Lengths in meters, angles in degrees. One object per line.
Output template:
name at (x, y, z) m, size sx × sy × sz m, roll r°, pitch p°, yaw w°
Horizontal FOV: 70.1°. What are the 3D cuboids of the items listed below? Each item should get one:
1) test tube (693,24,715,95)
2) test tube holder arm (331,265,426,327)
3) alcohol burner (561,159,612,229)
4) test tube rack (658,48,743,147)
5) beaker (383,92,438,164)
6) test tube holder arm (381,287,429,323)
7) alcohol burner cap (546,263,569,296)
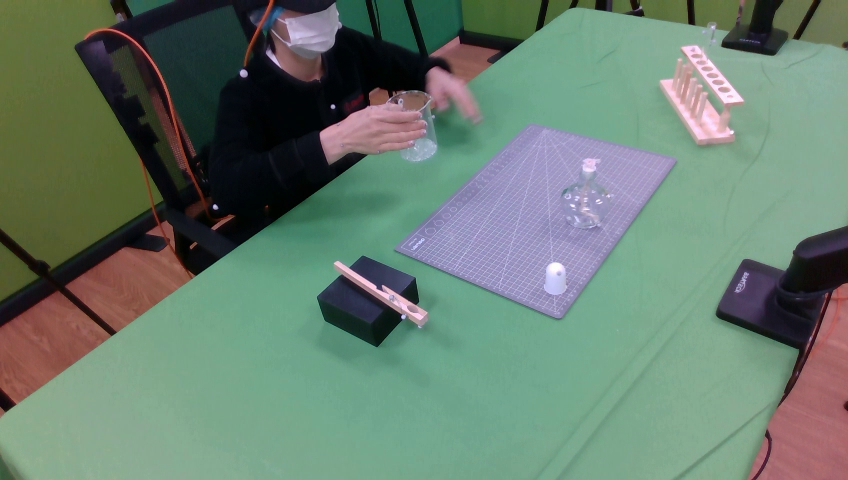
test tube at (0.543, -0.347, 1.177) m, size 0.017 × 0.151 × 0.017 m, roll -5°, pitch 45°, yaw 5°
test tube holder arm at (-0.066, 0.074, 0.828) m, size 0.177 × 0.015 × 0.013 m, roll 25°, pitch 42°, yaw 33°
alcohol burner at (0.257, -0.077, 0.951) m, size 0.078 × 0.119 × 0.077 m, roll -3°, pitch 40°, yaw 3°
test tube rack at (0.532, -0.284, 1.181) m, size 0.067 × 0.085 × 0.241 m, roll -5°, pitch 40°, yaw 4°
beaker at (-0.016, -0.185, 1.009) m, size 0.084 × 0.101 × 0.073 m, roll -19°, pitch 42°, yaw -5°
test tube holder arm at (-0.028, 0.087, 0.807) m, size 0.087 × 0.015 × 0.010 m, roll 25°, pitch 42°, yaw 33°
alcohol burner cap at (0.191, 0.053, 0.862) m, size 0.034 × 0.048 × 0.033 m, roll -5°, pitch 40°, yaw 4°
